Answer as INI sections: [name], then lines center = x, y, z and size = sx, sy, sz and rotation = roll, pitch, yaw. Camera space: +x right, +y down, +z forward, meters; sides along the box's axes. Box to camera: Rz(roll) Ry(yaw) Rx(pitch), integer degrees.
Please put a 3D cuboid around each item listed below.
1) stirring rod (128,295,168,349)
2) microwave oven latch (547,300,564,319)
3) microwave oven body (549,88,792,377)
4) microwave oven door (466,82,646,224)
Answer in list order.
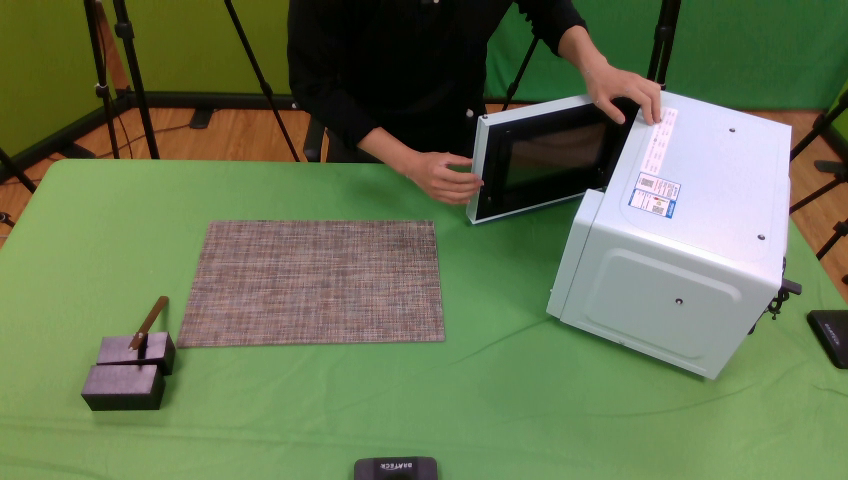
[stirring rod]
center = -0.451, 0.131, 0.996
size = 0.014, 0.006, 0.175
rotation = 9, 21, -10
[microwave oven latch]
center = 0.242, 0.102, 1.081
size = 0.030, 0.029, 0.079
rotation = 21, 48, 17
[microwave oven body]
center = 0.456, -0.028, 1.088
size = 0.325, 0.261, 0.440
rotation = 20, 47, 16
[microwave oven door]
center = 0.260, -0.172, 1.205
size = 0.356, 0.245, 0.039
rotation = -16, 48, -18
